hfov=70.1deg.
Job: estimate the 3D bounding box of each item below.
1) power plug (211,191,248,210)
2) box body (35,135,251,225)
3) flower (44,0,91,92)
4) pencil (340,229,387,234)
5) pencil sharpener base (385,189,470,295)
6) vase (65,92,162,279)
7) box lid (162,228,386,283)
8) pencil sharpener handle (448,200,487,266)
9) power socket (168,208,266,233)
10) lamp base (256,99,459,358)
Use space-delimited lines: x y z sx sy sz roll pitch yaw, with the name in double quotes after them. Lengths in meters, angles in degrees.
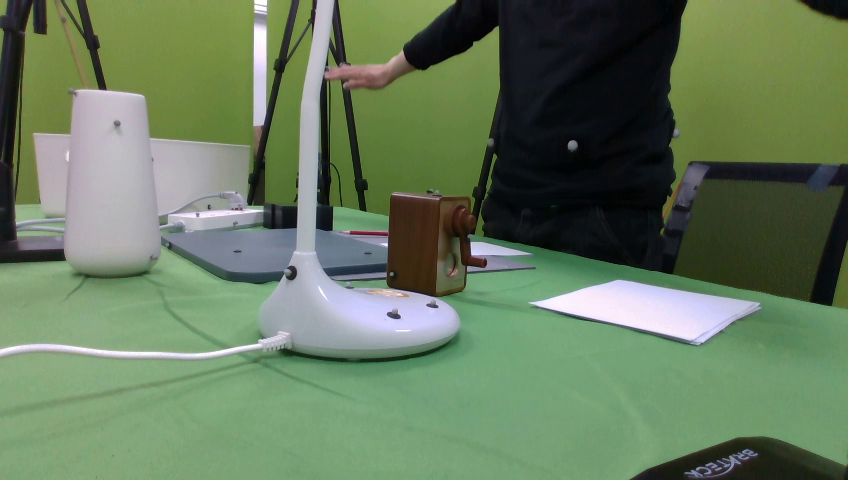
-0.384 -0.071 1.205 0.072 0.052 0.035 1 9 28 "power plug"
-0.559 -0.127 1.257 0.253 0.160 0.365 4 8 15 "box body"
-0.361 -0.142 0.663 0.044 0.361 0.038 -12 11 31 "flower"
-0.057 -0.013 1.095 0.195 0.012 0.012 2 7 -19 "pencil"
0.006 0.001 0.653 0.076 0.107 0.061 8 9 37 "pencil sharpener base"
-0.347 -0.060 0.673 0.098 0.200 0.098 1 7 0 "vase"
-0.200 0.014 0.861 0.265 0.015 0.369 -4 10 -35 "box lid"
0.049 -0.006 0.623 0.030 0.068 0.036 8 22 37 "pencil sharpener handle"
-0.379 -0.038 1.129 0.072 0.032 0.227 4 8 18 "power socket"
-0.055 -0.013 0.463 0.160 0.180 0.180 6 11 27 "lamp base"
